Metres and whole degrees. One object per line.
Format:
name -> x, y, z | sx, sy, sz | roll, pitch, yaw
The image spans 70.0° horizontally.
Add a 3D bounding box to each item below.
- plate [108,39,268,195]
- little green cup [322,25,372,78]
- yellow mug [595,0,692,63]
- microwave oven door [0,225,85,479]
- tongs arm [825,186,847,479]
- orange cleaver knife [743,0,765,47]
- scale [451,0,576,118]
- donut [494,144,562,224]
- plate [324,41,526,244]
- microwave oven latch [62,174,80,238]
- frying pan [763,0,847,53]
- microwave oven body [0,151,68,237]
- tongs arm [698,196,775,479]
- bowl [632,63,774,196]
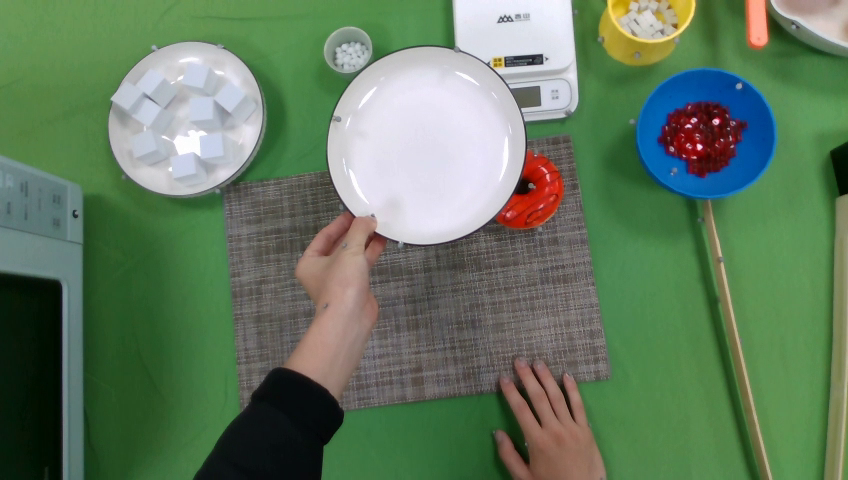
plate -> -0.301, -0.157, 0.787 | 0.207, 0.039, 0.207 | -1, 82, 5
little green cup -> -0.096, -0.239, 0.779 | 0.061, 0.039, 0.061 | -1, 82, 6
yellow mug -> 0.254, -0.288, 0.738 | 0.100, 0.064, 0.130 | -40, 80, 0
microwave oven door -> -0.450, 0.160, 0.638 | 0.039, 0.245, 0.354 | -6, 82, 5
tongs arm -> 0.461, 0.130, 0.685 | 0.028, 0.028, 0.386 | 7, 84, -1
orange cleaver knife -> 0.388, -0.326, 0.693 | 0.077, 0.012, 0.210 | -3, 83, 7
scale -> 0.111, -0.253, 0.764 | 0.148, 0.031, 0.200 | -4, 83, 6
donut -> 0.116, -0.067, 0.730 | 0.099, 0.048, 0.099 | -1, 83, 8
plate -> 0.001, -0.099, 0.632 | 0.209, 0.038, 0.208 | 0, 87, 5
microwave oven latch -> -0.456, -0.042, 0.768 | 0.030, 0.029, 0.079 | -3, 83, 4
frying pan -> 0.581, -0.270, 0.685 | 0.307, 0.103, 0.484 | -35, 73, 1
microwave oven body -> -0.598, 0.133, 0.661 | 0.326, 0.261, 0.440 | -5, 83, 4
tongs arm -> 0.375, 0.134, 0.689 | 0.051, 0.026, 0.383 | -8, 83, 0
bowl -> 0.311, -0.118, 0.705 | 0.151, 0.077, 0.151 | -1, 83, 6
